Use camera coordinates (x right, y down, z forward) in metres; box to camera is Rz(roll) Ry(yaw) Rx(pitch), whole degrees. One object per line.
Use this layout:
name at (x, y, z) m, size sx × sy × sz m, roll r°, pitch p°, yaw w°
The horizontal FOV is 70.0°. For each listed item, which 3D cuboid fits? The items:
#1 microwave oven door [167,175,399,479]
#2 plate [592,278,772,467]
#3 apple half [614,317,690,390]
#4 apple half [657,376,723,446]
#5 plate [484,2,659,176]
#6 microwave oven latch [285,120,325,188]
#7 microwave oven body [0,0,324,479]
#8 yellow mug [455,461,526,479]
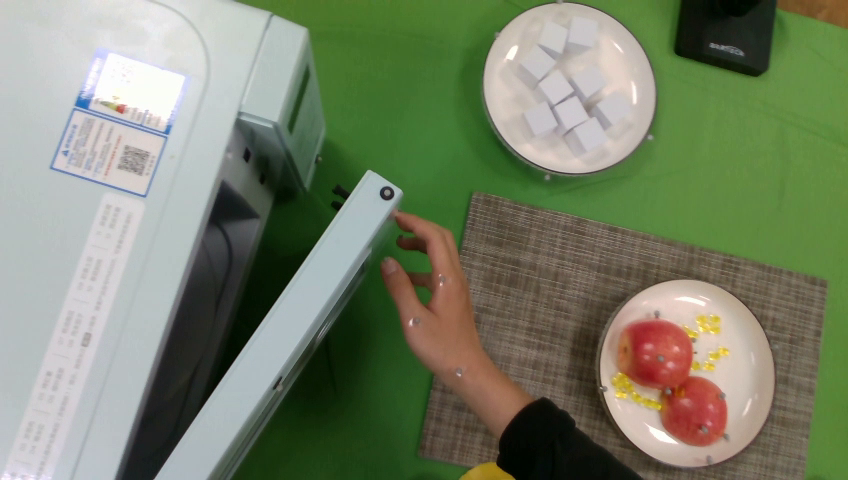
microwave oven door at (-0.137, 0.116, 0.523) m, size 0.039 × 0.244 × 0.355 m, roll 33°, pitch 81°, yaw -1°
plate at (0.287, 0.147, 0.686) m, size 0.209 × 0.038 × 0.208 m, roll 1°, pitch 84°, yaw -7°
apple half at (0.256, 0.125, 0.670) m, size 0.075 × 0.053 × 0.080 m, roll 12°, pitch 83°, yaw -3°
apple half at (0.301, 0.191, 0.677) m, size 0.081 × 0.033 × 0.081 m, roll 1°, pitch 80°, yaw -6°
plate at (0.171, -0.174, 0.715) m, size 0.208 × 0.039 × 0.207 m, roll 1°, pitch 83°, yaw -6°
microwave oven latch at (-0.129, -0.098, 0.653) m, size 0.030 × 0.029 × 0.079 m, roll 17°, pitch 82°, yaw -5°
microwave oven body at (-0.310, 0.013, 0.520) m, size 0.327 × 0.260 × 0.440 m, roll 17°, pitch 82°, yaw -5°
yellow mug at (0.068, 0.304, 0.631) m, size 0.100 × 0.064 × 0.130 m, roll 26°, pitch 84°, yaw -4°
